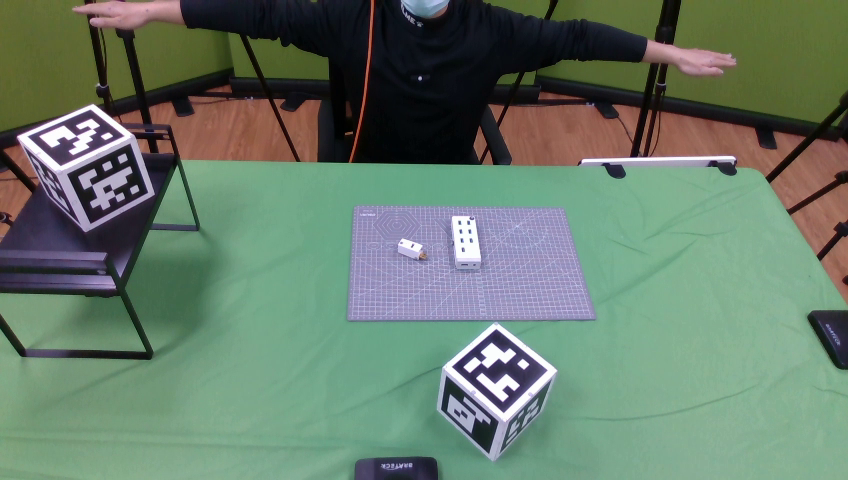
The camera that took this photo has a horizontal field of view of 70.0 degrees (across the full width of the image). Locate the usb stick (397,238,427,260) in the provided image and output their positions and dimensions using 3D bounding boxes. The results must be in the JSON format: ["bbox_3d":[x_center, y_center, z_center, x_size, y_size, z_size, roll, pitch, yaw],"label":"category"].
[{"bbox_3d":[-0.021,0.020,1.169,0.059,0.027,0.021,22,48,13],"label":"usb stick"}]

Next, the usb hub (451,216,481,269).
[{"bbox_3d":[0.082,0.004,1.194,0.049,0.025,0.124,1,46,-4],"label":"usb hub"}]
